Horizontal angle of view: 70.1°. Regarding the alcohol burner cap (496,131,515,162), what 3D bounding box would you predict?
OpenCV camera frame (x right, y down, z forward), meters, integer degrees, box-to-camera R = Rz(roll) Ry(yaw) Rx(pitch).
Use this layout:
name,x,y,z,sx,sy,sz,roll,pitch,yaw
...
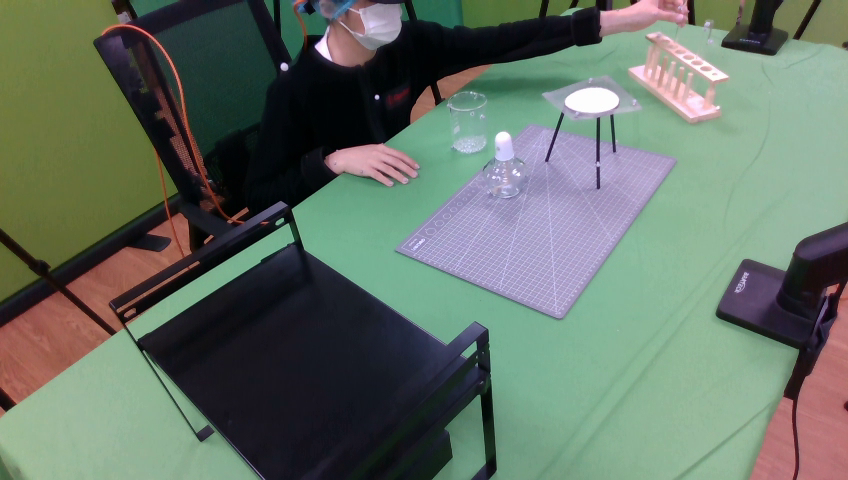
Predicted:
name,x,y,z,sx,sy,sz,roll,pitch,yaw
alcohol burner cap,0.135,-0.160,1.019,0.034,0.048,0.033,-7,38,6

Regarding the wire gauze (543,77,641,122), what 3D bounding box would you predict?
name,x,y,z,sx,sy,sz,roll,pitch,yaw
wire gauze,0.282,-0.236,1.020,0.125,0.011,0.120,-15,40,-6

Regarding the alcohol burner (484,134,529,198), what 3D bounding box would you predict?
name,x,y,z,sx,sy,sz,roll,pitch,yaw
alcohol burner,0.141,-0.133,1.041,0.078,0.119,0.077,-5,42,5

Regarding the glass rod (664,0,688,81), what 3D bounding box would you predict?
name,x,y,z,sx,sy,sz,roll,pitch,yaw
glass rod,0.521,-0.422,1.243,0.008,0.200,0.008,0,40,0

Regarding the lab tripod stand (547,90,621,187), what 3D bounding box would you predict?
name,x,y,z,sx,sy,sz,roll,pitch,yaw
lab tripod stand,0.289,-0.184,1.062,0.148,0.132,0.147,-6,41,6

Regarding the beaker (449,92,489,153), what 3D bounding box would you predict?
name,x,y,z,sx,sy,sz,roll,pitch,yaw
beaker,0.091,-0.228,1.177,0.073,0.101,0.084,15,45,24

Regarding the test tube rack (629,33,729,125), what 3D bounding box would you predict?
name,x,y,z,sx,sy,sz,roll,pitch,yaw
test tube rack,0.516,-0.337,1.247,0.067,0.085,0.240,-14,41,-7

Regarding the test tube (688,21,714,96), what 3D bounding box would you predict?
name,x,y,z,sx,sy,sz,roll,pitch,yaw
test tube,0.541,-0.353,1.184,0.017,0.151,0.017,-2,40,2
